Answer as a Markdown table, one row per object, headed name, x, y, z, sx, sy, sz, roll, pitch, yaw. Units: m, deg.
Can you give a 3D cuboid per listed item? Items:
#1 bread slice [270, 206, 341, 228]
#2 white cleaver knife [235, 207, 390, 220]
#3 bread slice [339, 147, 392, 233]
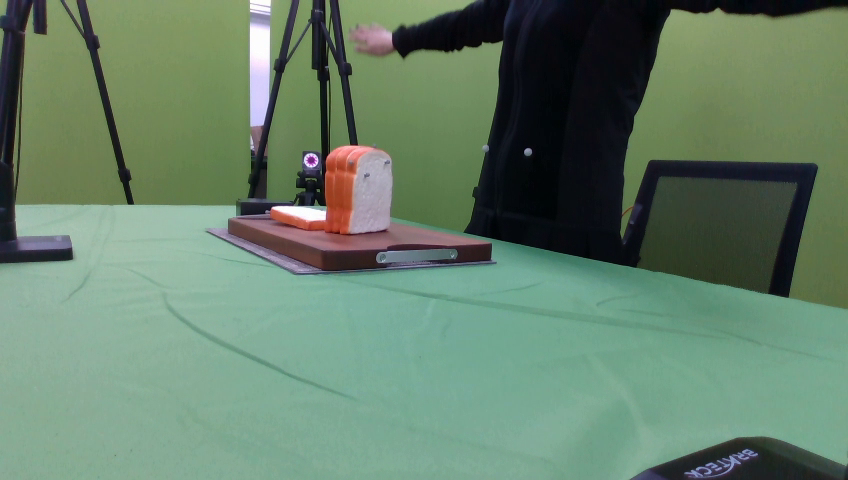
| name | x | y | z | sx | sy | sz | roll | pitch | yaw |
| --- | --- | --- | --- | --- | --- | --- | --- | --- | --- |
| bread slice | -0.188 | -0.039 | 1.002 | 0.133 | 0.018 | 0.107 | 15 | 11 | 43 |
| white cleaver knife | -0.199 | -0.046 | 1.109 | 0.288 | 0.021 | 0.065 | -6 | 6 | -22 |
| bread slice | -0.085 | -0.075 | 0.917 | 0.019 | 0.131 | 0.105 | 13 | 13 | 32 |
